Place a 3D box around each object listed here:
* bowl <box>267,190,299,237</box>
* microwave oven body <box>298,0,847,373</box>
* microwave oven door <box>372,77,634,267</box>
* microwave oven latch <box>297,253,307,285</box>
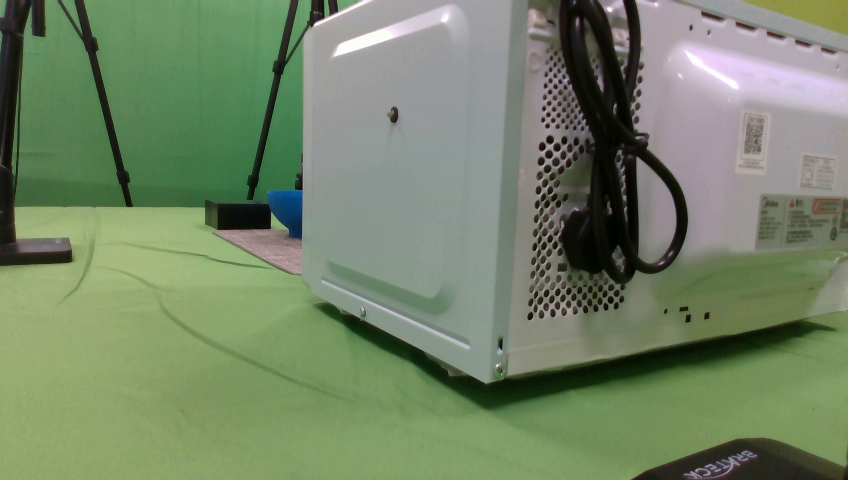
[{"bbox_3d":[-0.202,-0.046,1.070,0.151,0.077,0.151,3,7,0],"label":"bowl"},{"bbox_3d":[0.151,-0.055,0.543,0.444,0.260,0.324,-1,7,-33],"label":"microwave oven body"},{"bbox_3d":[0.096,-0.099,0.837,0.355,0.243,0.039,5,8,20],"label":"microwave oven door"},{"bbox_3d":[-0.082,0.027,0.583,0.079,0.029,0.030,-1,7,-33],"label":"microwave oven latch"}]
